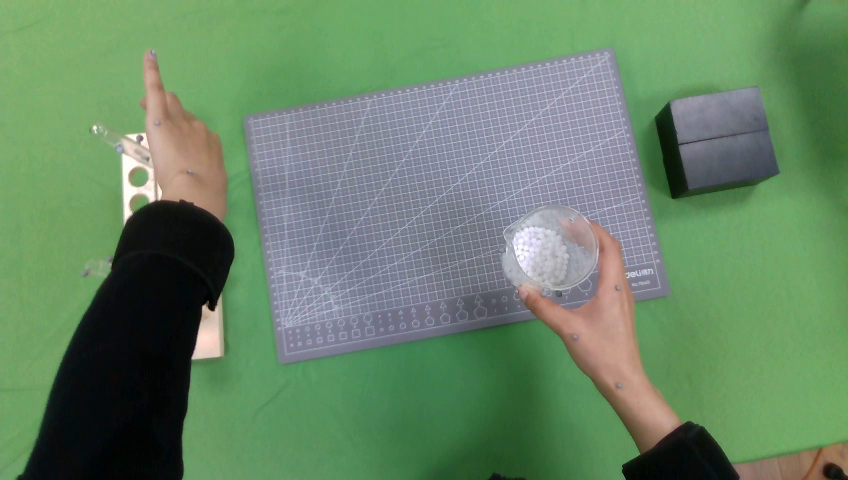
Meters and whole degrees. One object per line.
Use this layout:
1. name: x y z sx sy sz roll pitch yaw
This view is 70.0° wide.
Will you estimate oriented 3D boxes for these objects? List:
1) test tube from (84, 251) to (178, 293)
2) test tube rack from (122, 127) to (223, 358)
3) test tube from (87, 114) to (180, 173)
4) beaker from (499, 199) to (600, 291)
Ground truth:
1. test tube: -0.292 0.036 0.615 0.017 0.151 0.017 -1 76 5
2. test tube rack: -0.275 0.004 0.669 0.067 0.085 0.241 -6 82 1
3. test tube: -0.267 -0.088 0.567 0.017 0.151 0.017 0 82 2
4. beaker: 0.107 0.008 0.557 0.084 0.100 0.074 17 81 3
